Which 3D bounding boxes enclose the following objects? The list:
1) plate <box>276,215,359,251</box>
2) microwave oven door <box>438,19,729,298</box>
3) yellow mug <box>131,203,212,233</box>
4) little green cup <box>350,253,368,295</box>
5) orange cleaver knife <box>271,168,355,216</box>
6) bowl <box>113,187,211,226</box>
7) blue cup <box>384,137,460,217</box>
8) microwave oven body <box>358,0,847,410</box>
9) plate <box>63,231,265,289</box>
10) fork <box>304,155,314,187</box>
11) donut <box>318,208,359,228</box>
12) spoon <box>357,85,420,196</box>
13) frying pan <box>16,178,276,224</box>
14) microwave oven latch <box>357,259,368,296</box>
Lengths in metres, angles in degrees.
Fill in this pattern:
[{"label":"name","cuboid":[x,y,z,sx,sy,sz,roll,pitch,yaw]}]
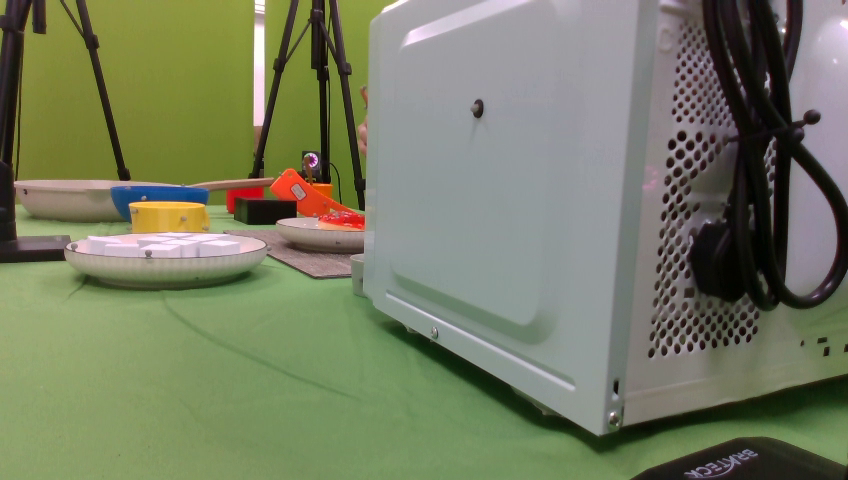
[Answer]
[{"label":"plate","cuboid":[-0.126,-0.012,0.949,0.209,0.038,0.209,2,7,0]},{"label":"microwave oven door","cuboid":[0.181,-0.076,0.618,0.358,0.243,0.039,-2,8,-28]},{"label":"yellow mug","cuboid":[-0.356,-0.020,0.878,0.099,0.064,0.131,5,7,22]},{"label":"little green cup","cuboid":[-0.048,0.035,0.632,0.061,0.038,0.061,3,6,0]},{"label":"orange cleaver knife","cuboid":[-0.237,-0.084,1.332,0.212,0.077,0.012,31,-9,-31]},{"label":"bowl","cuboid":[-0.436,-0.046,1.013,0.151,0.077,0.151,2,7,0]},{"label":"blue cup","cuboid":[0.002,-0.092,0.957,0.092,0.100,0.092,-42,-4,-4]},{"label":"microwave oven body","cuboid":[0.210,-0.051,0.471,0.444,0.260,0.324,-1,7,-28]},{"label":"plate","cuboid":[-0.288,0.021,0.687,0.208,0.039,0.207,2,8,0]},{"label":"fork","cuboid":[-0.268,-0.134,1.446,0.028,0.018,0.207,2,-36,-1]},{"label":"donut","cuboid":[-0.118,-0.024,0.954,0.099,0.048,0.099,5,7,0]},{"label":"spoon","cuboid":[-0.056,-0.155,0.950,0.022,0.193,0.041,-26,5,-21]},{"label":"frying pan","cuboid":[-0.554,-0.097,1.266,0.490,0.102,0.305,-10,13,-24]},{"label":"microwave oven latch","cuboid":[-0.019,0.031,0.528,0.079,0.029,0.030,-1,7,-25]}]
